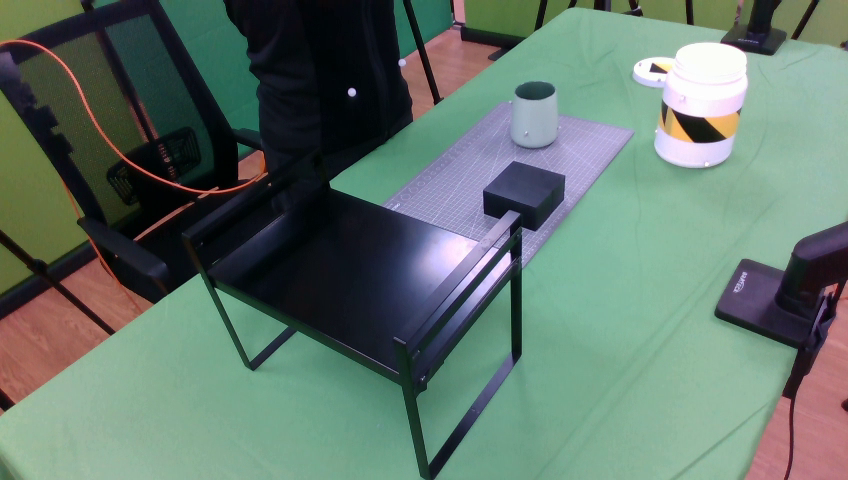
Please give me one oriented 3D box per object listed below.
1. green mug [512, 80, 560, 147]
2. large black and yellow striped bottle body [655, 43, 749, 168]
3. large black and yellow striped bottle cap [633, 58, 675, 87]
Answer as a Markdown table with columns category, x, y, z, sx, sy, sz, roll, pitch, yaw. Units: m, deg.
| category | x | y | z | sx | sy | sz | roll | pitch | yaw |
| --- | --- | --- | --- | --- | --- | --- | --- | --- | --- |
| green mug | 0.217 | -0.251 | 1.169 | 0.092 | 0.105 | 0.125 | 1 | 42 | 12 |
| large black and yellow striped bottle body | 0.481 | -0.233 | 1.050 | 0.131 | 0.185 | 0.130 | -4 | 41 | 4 |
| large black and yellow striped bottle cap | 0.521 | -0.370 | 1.332 | 0.115 | 0.019 | 0.114 | -3 | 41 | 4 |
